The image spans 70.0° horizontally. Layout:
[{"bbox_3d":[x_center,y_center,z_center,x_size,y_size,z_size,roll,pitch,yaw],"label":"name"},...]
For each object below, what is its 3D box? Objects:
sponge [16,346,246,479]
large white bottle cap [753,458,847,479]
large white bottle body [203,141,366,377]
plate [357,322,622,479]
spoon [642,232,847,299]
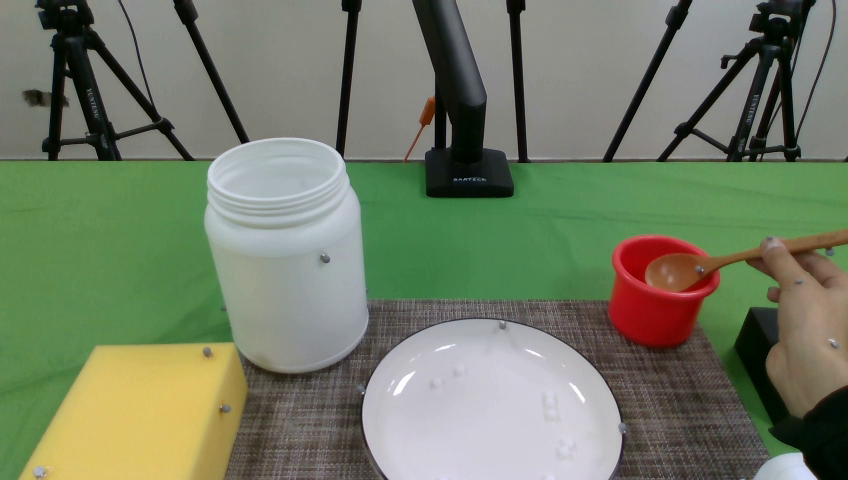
[{"bbox_3d":[-0.214,0.170,0.438,0.118,0.061,0.205,-2,35,-1],"label":"sponge"},{"bbox_3d":[0.293,0.210,0.435,0.115,0.018,0.113,3,35,-2],"label":"large white bottle cap"},{"bbox_3d":[-0.122,0.017,0.547,0.130,0.186,0.129,1,35,0],"label":"large white bottle body"},{"bbox_3d":[0.051,0.150,0.493,0.209,0.038,0.207,1,35,-1],"label":"plate"},{"bbox_3d":[0.279,0.021,0.535,0.022,0.193,0.041,24,64,-25],"label":"spoon"}]
